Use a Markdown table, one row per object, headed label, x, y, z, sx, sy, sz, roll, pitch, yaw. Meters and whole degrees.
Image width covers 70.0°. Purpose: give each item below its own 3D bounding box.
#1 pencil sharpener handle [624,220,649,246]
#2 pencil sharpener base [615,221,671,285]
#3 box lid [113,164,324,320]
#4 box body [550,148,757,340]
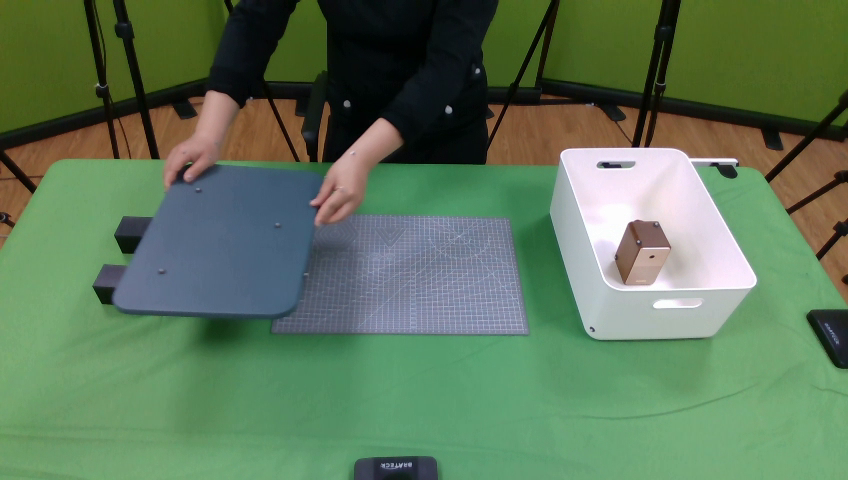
| label | x | y | z | sx | sy | sz | roll | pitch | yaw |
| --- | --- | --- | --- | --- | --- | --- | --- | --- | --- |
| pencil sharpener handle | 0.402 | -0.020 | 1.163 | 0.036 | 0.068 | 0.030 | 5 | 44 | -10 |
| pencil sharpener base | 0.407 | 0.024 | 1.136 | 0.061 | 0.107 | 0.076 | -1 | 45 | -4 |
| box lid | -0.314 | -0.012 | 0.989 | 0.263 | 0.015 | 0.369 | 2 | 40 | -2 |
| box body | 0.395 | 0.003 | 1.127 | 0.254 | 0.161 | 0.361 | -1 | 46 | -5 |
